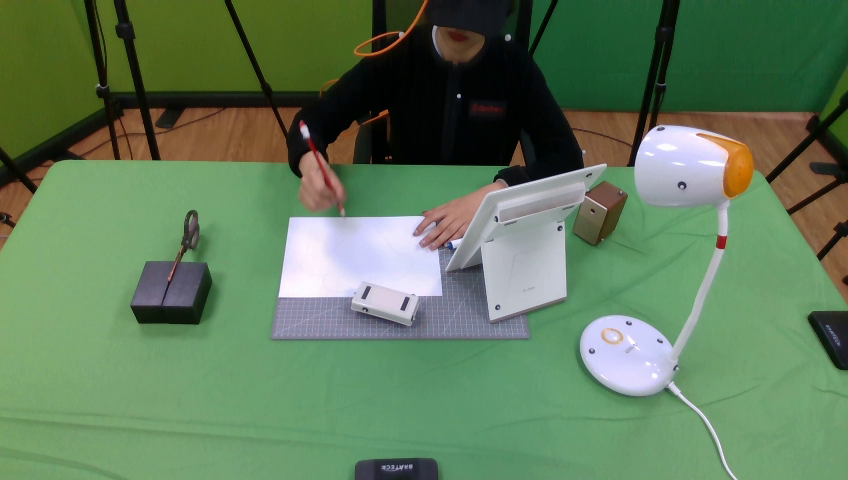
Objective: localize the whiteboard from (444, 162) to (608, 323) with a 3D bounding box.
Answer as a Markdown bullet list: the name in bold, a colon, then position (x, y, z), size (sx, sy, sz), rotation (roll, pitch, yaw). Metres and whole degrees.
- **whiteboard**: position (0.186, 0.025, 1.029), size (0.217, 0.306, 0.143), rotation (-14, 68, -18)

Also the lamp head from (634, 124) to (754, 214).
- **lamp head**: position (0.351, -0.089, 0.776), size (0.112, 0.113, 0.122), rotation (-30, 30, -28)

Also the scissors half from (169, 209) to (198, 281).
- **scissors half**: position (-0.438, 0.007, 1.099), size (0.013, 0.040, 0.174), rotation (4, 48, -5)

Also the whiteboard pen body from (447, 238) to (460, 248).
- **whiteboard pen body**: position (0.112, -0.006, 1.203), size (0.141, 0.017, 0.017), rotation (-13, 49, -18)

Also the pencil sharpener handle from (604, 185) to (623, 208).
- **pencil sharpener handle**: position (0.390, -0.091, 1.235), size (0.030, 0.068, 0.036), rotation (-34, 70, -31)

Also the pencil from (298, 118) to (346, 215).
- **pencil**: position (-0.185, -0.134, 1.106), size (0.012, 0.012, 0.194), rotation (-26, 92, -25)

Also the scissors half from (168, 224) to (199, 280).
- **scissors half**: position (-0.441, 0.023, 1.111), size (0.013, 0.040, 0.174), rotation (9, 29, -8)

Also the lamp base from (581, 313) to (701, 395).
- **lamp base**: position (0.361, 0.144, 0.973), size (0.178, 0.181, 0.160), rotation (34, 53, 23)

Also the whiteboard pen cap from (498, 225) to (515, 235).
- **whiteboard pen cap**: position (0.166, -0.019, 1.222), size (0.033, 0.018, 0.018), rotation (-14, 49, -19)

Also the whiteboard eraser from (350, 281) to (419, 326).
- **whiteboard eraser**: position (-0.069, 0.113, 1.065), size (0.112, 0.042, 0.055), rotation (14, 46, 9)

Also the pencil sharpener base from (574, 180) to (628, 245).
- **pencil sharpener base**: position (0.356, -0.056, 1.217), size (0.076, 0.107, 0.061), rotation (-33, 56, -31)
